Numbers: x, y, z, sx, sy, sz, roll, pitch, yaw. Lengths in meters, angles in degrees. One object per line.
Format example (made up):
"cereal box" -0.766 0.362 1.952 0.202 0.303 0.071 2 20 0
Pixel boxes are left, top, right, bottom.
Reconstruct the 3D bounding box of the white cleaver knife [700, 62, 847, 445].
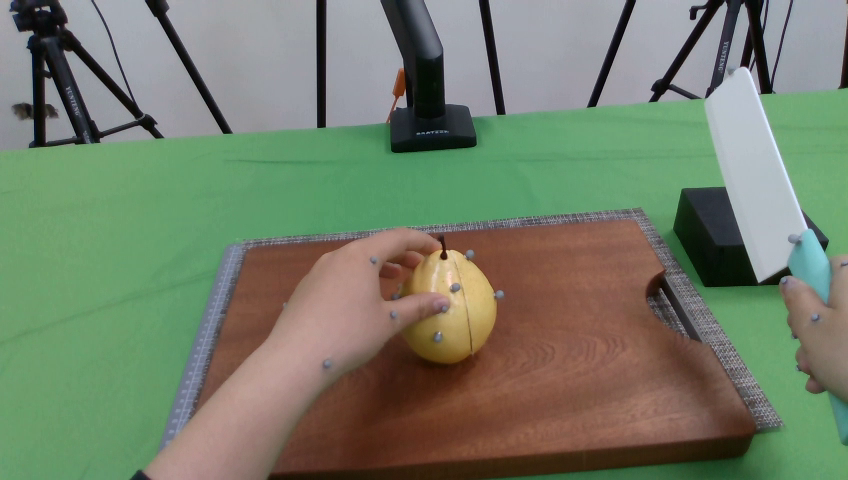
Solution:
"white cleaver knife" 0.248 -0.004 0.426 0.021 0.066 0.284 1 62 -7

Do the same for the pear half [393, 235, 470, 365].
"pear half" 0.004 0.044 0.462 0.056 0.111 0.075 -12 33 -11

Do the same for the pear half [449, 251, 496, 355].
"pear half" 0.039 0.046 0.473 0.031 0.088 0.069 -12 29 -11
